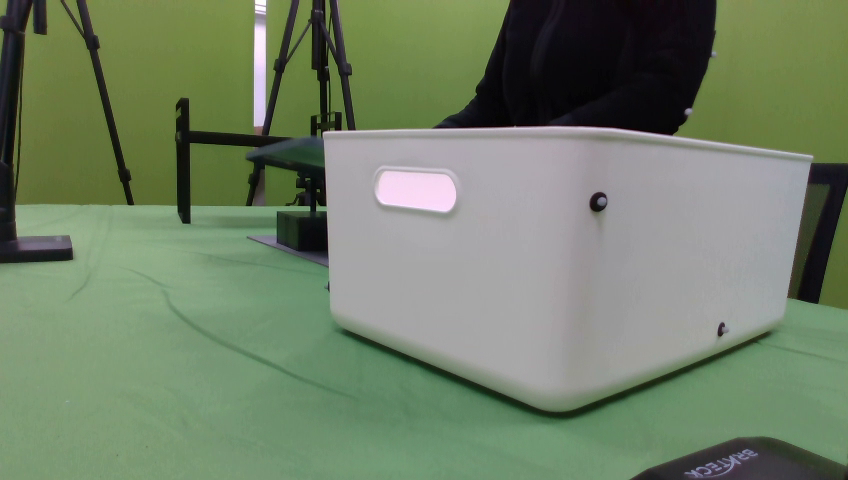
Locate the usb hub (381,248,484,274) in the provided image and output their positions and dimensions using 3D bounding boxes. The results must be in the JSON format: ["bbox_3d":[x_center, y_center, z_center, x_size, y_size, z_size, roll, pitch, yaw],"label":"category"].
[{"bbox_3d":[0.012,0.026,0.775,0.126,0.025,0.049,-1,7,-26],"label":"usb hub"}]

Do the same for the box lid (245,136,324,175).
[{"bbox_3d":[-0.054,-0.098,0.909,0.374,0.015,0.262,9,-2,-34],"label":"box lid"}]

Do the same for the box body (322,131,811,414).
[{"bbox_3d":[0.124,0.000,0.510,0.366,0.160,0.253,-4,10,-42],"label":"box body"}]
